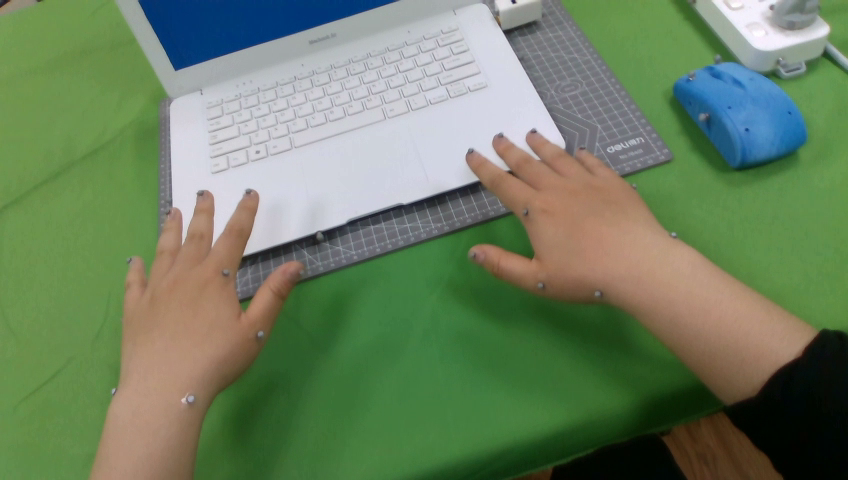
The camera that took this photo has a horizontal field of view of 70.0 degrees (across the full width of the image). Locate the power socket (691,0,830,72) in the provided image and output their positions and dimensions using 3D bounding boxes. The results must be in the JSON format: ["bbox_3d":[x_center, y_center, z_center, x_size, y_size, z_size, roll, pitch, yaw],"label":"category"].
[{"bbox_3d":[0.303,-0.247,0.590,0.072,0.033,0.224,-15,54,2],"label":"power socket"}]

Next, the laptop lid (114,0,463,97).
[{"bbox_3d":[-0.130,-0.288,0.575,0.357,0.244,0.013,-19,41,0],"label":"laptop lid"}]

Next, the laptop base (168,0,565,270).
[{"bbox_3d":[-0.072,-0.113,0.585,0.354,0.023,0.233,-18,57,-1],"label":"laptop base"}]

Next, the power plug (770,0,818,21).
[{"bbox_3d":[0.343,-0.208,0.529,0.072,0.053,0.035,-6,57,7],"label":"power plug"}]

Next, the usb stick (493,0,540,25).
[{"bbox_3d":[0.088,-0.240,0.624,0.059,0.027,0.021,-19,53,3],"label":"usb stick"}]

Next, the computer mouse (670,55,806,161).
[{"bbox_3d":[0.259,-0.118,0.506,0.063,0.041,0.116,-19,49,2],"label":"computer mouse"}]
